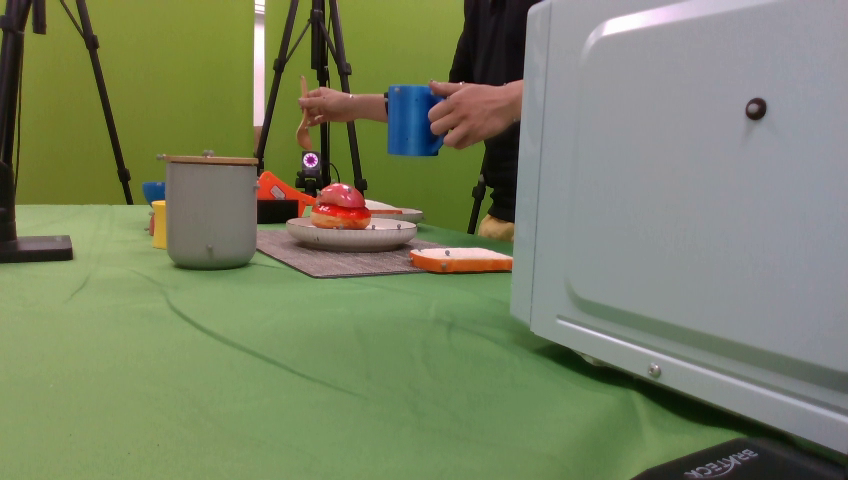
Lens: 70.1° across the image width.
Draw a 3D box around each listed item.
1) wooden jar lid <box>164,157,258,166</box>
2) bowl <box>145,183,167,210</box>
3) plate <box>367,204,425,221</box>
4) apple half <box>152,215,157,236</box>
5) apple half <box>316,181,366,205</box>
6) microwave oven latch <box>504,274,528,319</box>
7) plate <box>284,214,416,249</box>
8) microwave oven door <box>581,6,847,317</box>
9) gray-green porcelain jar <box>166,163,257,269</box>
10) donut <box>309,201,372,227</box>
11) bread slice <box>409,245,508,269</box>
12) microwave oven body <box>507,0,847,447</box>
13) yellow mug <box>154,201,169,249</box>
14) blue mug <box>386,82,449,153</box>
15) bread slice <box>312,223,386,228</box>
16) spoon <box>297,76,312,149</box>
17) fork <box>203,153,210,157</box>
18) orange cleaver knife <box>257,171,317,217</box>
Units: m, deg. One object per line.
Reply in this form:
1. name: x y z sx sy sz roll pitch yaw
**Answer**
1. wooden jar lid: -0.261 -0.093 0.746 0.108 0.020 0.108 0 9 0
2. bowl: -0.459 -0.068 1.175 0.151 0.077 0.151 3 7 0
3. plate: -0.102 -0.053 1.298 0.209 0.038 0.209 2 7 0
4. apple half: -0.415 -0.034 1.017 0.081 0.053 0.074 1 10 -9
5. apple half: -0.128 -0.076 0.954 0.081 0.033 0.081 7 12 -1
6. microwave oven latch: 0.100 0.041 0.471 0.079 0.029 0.030 -1 7 -27
7. plate: -0.117 -0.014 0.967 0.208 0.039 0.207 2 8 0
8. microwave oven door: 0.295 -0.067 0.569 0.358 0.243 0.039 -3 8 -31
9. gray-green porcelain jar: -0.263 -0.031 0.754 0.106 0.126 0.106 2 7 0
10. donut: -0.132 -0.042 0.959 0.099 0.048 0.099 2 7 0
11. bread slice: 0.048 0.021 0.816 0.132 0.019 0.104 0 7 -24
12. microwave oven body: 0.331 -0.042 0.425 0.444 0.260 0.324 -2 8 -31
13. yellow mug: -0.337 -0.023 0.899 0.130 0.064 0.100 8 10 35
14. blue mug: -0.006 -0.189 0.936 0.116 0.106 0.083 12 15 43
15. bread slice: -0.120 -0.014 0.970 0.106 0.018 0.135 9 11 41
16. spoon: -0.266 -0.287 1.348 0.021 0.193 0.042 -20 -26 37
17. fork: -0.480 -0.135 1.411 0.028 0.018 0.207 1 -34 0
18. orange cleaver knife: -0.283 -0.087 1.343 0.212 0.077 0.012 24 -16 -41
